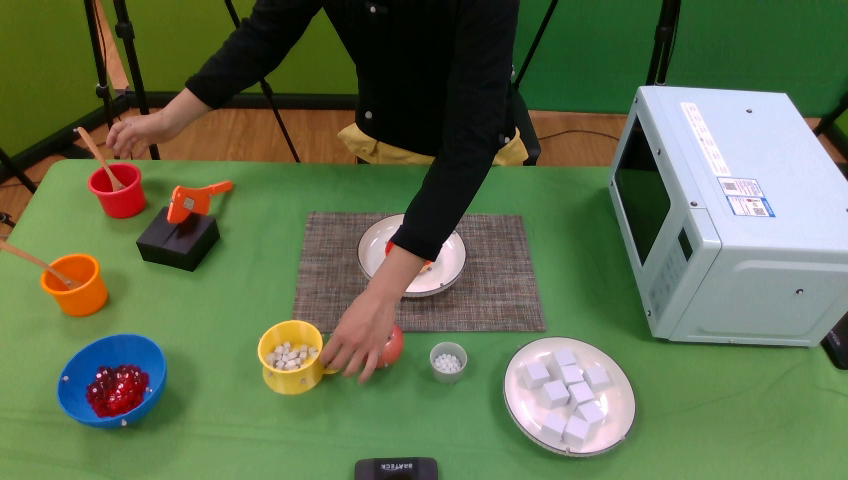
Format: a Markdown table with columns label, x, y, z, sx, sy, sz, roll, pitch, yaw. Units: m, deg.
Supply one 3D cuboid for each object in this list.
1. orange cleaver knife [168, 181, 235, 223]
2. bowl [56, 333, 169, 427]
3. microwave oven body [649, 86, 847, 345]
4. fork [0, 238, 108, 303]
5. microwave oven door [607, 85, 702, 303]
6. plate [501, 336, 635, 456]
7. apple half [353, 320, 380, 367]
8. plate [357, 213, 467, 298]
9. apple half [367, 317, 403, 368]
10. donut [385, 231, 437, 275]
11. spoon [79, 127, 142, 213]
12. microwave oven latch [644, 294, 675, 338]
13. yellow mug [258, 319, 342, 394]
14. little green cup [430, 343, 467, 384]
| label | x | y | z | sx | sy | sz | roll | pitch | yaw |
| --- | --- | --- | --- | --- | --- | --- | --- | --- | --- |
| orange cleaver knife | -0.436 | -0.078 | 1.196 | 0.012 | 0.077 | 0.211 | 16 | 15 | 10 |
| bowl | -0.456 | 0.223 | 0.911 | 0.151 | 0.077 | 0.150 | 3 | 46 | -2 |
| microwave oven body | 0.568 | -0.053 | 1.118 | 0.326 | 0.261 | 0.439 | 2 | 45 | -1 |
| fork | -0.633 | 0.048 | 1.017 | 0.208 | 0.018 | 0.028 | 40 | 43 | -27 |
| microwave oven door | 0.423 | -0.094 | 1.140 | 0.039 | 0.245 | 0.353 | 2 | 46 | -1 |
| plate | 0.225 | 0.249 | 0.963 | 0.208 | 0.039 | 0.206 | 2 | 46 | -2 |
| apple half | -0.098 | 0.175 | 0.986 | 0.033 | 0.081 | 0.080 | -13 | 48 | -20 |
| plate | -0.023 | 0.032 | 1.150 | 0.209 | 0.038 | 0.208 | 2 | 46 | -2 |
| apple half | -0.062 | 0.167 | 0.998 | 0.053 | 0.075 | 0.080 | -11 | 44 | -20 |
| donut | -0.025 | 0.024 | 1.141 | 0.099 | 0.048 | 0.098 | 3 | 44 | -3 |
| spoon | -0.625 | -0.139 | 1.203 | 0.041 | 0.021 | 0.194 | -33 | 100 | -26 |
| microwave oven latch | 0.411 | 0.133 | 1.062 | 0.030 | 0.029 | 0.078 | 2 | 45 | -1 |
| yellow mug | -0.195 | 0.189 | 0.971 | 0.131 | 0.064 | 0.099 | 9 | 46 | 4 |
| little green cup | 0.039 | 0.203 | 0.993 | 0.061 | 0.039 | 0.061 | 2 | 46 | -2 |
